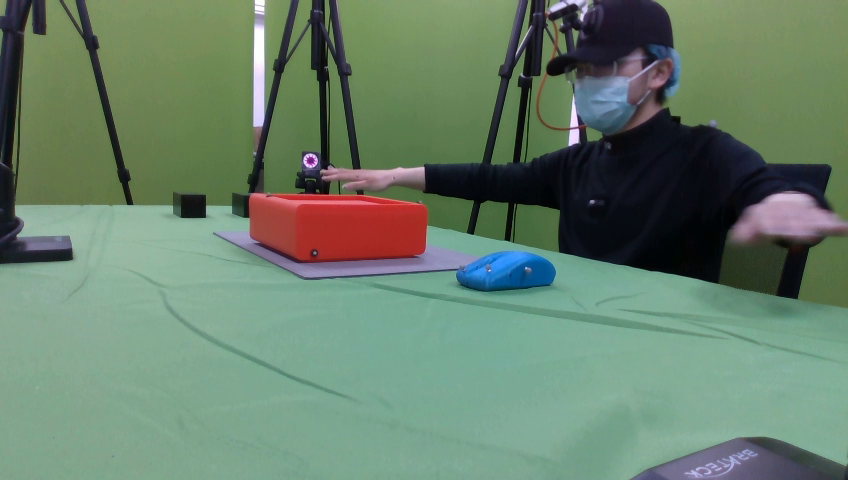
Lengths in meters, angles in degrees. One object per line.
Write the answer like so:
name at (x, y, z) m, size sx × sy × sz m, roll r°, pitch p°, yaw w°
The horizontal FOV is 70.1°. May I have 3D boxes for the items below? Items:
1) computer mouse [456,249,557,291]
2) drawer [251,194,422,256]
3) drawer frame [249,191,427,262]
computer mouse at (0.097, 0.034, 0.709) m, size 0.118 × 0.041 × 0.062 m, roll -7°, pitch 12°, yaw -31°
drawer at (-0.136, -0.026, 0.911) m, size 0.195 × 0.073 × 0.210 m, roll -1°, pitch 9°, yaw -31°
drawer frame at (-0.135, -0.027, 0.909) m, size 0.203 × 0.082 × 0.212 m, roll -1°, pitch 9°, yaw -32°
